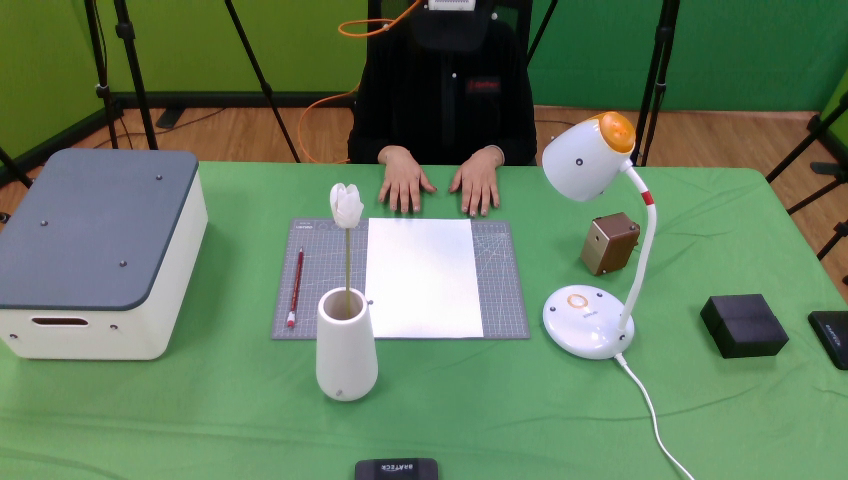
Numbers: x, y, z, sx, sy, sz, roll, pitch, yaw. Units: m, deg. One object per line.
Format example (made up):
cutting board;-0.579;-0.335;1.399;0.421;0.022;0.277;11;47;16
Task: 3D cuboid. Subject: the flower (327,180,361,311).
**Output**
flower;-0.110;0.087;0.867;0.044;0.363;0.038;22;33;36

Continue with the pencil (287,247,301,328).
pencil;-0.236;0.081;1.107;0.012;0.012;0.193;0;45;-4

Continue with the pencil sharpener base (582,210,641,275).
pencil sharpener base;0.357;0.005;1.156;0.077;0.107;0.061;-15;48;-18

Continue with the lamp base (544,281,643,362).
lamp base;0.304;0.095;1.014;0.161;0.181;0.178;-24;54;-24

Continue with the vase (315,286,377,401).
vase;-0.119;0.159;0.911;0.098;0.201;0.097;2;47;-2

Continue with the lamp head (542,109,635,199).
lamp head;0.253;-0.131;0.893;0.113;0.123;0.112;10;66;-24

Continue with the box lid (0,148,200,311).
box lid;-0.536;-0.034;0.990;0.263;0.015;0.369;1;45;-3

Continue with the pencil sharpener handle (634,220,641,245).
pencil sharpener handle;0.405;-0.015;1.161;0.031;0.068;0.035;-15;44;-17

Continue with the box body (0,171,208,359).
box body;-0.541;0.021;1.042;0.254;0.161;0.361;1;46;-3
